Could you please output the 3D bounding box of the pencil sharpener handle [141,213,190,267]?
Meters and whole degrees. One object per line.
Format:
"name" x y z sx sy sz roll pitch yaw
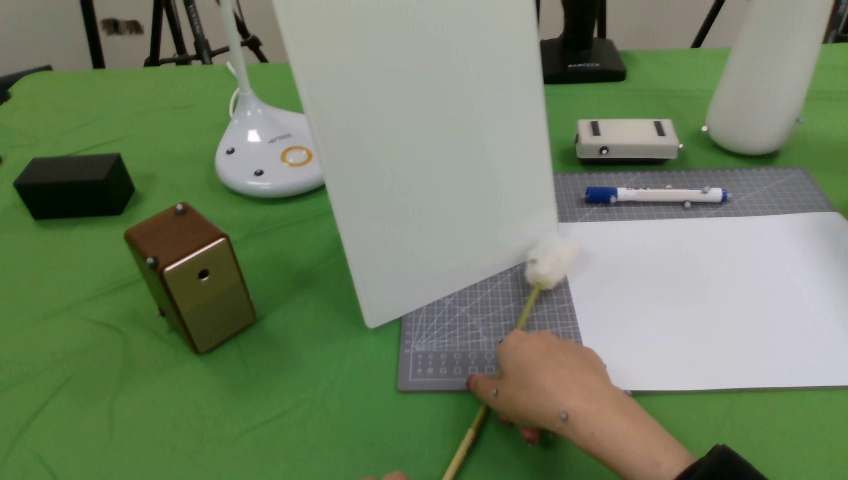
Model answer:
"pencil sharpener handle" -0.237 -0.003 0.551 0.030 0.068 0.036 32 62 34

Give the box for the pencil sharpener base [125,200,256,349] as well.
"pencil sharpener base" -0.202 0.030 0.530 0.061 0.108 0.076 -35 50 -30

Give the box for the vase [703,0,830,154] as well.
"vase" 0.385 -0.197 0.677 0.098 0.202 0.097 -1 42 1

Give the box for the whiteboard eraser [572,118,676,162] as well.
"whiteboard eraser" 0.235 -0.118 0.717 0.112 0.042 0.055 0 40 5

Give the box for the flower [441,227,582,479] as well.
"flower" 0.053 0.120 0.485 0.044 0.038 0.360 -16 32 49

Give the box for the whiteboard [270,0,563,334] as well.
"whiteboard" -0.013 -0.110 0.568 0.217 0.308 0.142 -22 26 -18

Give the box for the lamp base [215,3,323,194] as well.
"lamp base" -0.187 -0.169 0.696 0.177 0.182 0.160 29 51 34

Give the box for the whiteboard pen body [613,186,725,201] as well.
"whiteboard pen body" 0.252 -0.051 0.656 0.140 0.017 0.017 1 42 5

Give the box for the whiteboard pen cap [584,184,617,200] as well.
"whiteboard pen cap" 0.193 -0.051 0.660 0.033 0.018 0.018 3 42 3
